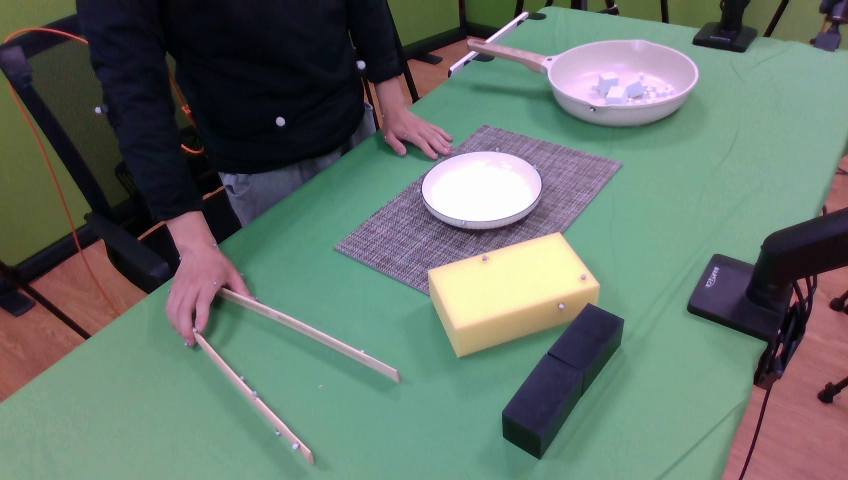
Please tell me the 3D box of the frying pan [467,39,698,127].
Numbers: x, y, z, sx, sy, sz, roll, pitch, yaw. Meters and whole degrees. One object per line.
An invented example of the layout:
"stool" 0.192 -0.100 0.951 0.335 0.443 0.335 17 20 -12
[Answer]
"frying pan" 0.312 -0.359 1.277 0.485 0.103 0.307 23 48 19

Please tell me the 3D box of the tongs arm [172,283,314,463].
"tongs arm" -0.247 0.161 0.806 0.381 0.026 0.051 29 52 36

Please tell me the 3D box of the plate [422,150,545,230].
"plate" 0.101 -0.082 1.031 0.207 0.039 0.206 -4 40 4

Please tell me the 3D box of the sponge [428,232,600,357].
"sponge" 0.120 0.071 0.834 0.207 0.061 0.117 -15 43 -12

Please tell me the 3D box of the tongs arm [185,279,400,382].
"tongs arm" -0.195 0.121 0.850 0.385 0.028 0.028 18 50 27
